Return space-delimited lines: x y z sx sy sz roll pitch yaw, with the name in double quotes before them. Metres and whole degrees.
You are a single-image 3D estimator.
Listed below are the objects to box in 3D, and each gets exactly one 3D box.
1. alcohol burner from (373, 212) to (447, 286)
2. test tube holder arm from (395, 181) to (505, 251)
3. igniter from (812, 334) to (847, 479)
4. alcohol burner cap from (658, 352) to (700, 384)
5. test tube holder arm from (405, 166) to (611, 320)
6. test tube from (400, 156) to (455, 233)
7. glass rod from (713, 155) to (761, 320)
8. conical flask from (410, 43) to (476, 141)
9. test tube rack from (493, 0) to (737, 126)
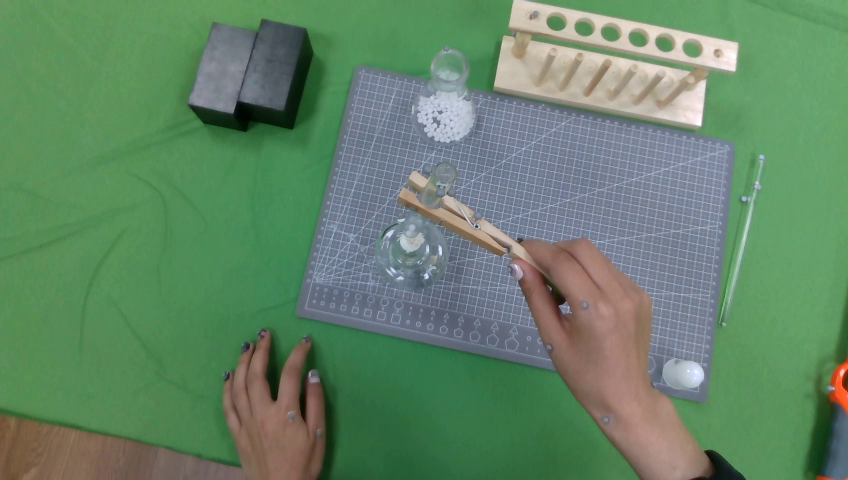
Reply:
"alcohol burner" -0.015 0.005 0.612 0.078 0.119 0.077 0 77 0
"test tube holder arm" 0.020 -0.016 0.436 0.088 0.015 0.010 27 76 -3
"igniter" 0.467 0.128 0.653 0.057 0.025 0.275 22 79 -8
"alcohol burner cap" 0.270 0.133 0.635 0.034 0.048 0.033 0 78 -1
"test tube holder arm" 0.061 0.003 0.439 0.178 0.015 0.013 34 76 -1
"test tube" 0.000 -0.029 0.450 0.017 0.150 0.017 2 77 -10
"glass rod" 0.354 -0.004 0.684 0.008 0.008 0.199 19 82 1
"conical flask" 0.023 -0.159 0.640 0.075 0.122 0.075 0 79 -2
"test tube rack" 0.206 -0.197 0.675 0.242 0.085 0.066 11 79 0
